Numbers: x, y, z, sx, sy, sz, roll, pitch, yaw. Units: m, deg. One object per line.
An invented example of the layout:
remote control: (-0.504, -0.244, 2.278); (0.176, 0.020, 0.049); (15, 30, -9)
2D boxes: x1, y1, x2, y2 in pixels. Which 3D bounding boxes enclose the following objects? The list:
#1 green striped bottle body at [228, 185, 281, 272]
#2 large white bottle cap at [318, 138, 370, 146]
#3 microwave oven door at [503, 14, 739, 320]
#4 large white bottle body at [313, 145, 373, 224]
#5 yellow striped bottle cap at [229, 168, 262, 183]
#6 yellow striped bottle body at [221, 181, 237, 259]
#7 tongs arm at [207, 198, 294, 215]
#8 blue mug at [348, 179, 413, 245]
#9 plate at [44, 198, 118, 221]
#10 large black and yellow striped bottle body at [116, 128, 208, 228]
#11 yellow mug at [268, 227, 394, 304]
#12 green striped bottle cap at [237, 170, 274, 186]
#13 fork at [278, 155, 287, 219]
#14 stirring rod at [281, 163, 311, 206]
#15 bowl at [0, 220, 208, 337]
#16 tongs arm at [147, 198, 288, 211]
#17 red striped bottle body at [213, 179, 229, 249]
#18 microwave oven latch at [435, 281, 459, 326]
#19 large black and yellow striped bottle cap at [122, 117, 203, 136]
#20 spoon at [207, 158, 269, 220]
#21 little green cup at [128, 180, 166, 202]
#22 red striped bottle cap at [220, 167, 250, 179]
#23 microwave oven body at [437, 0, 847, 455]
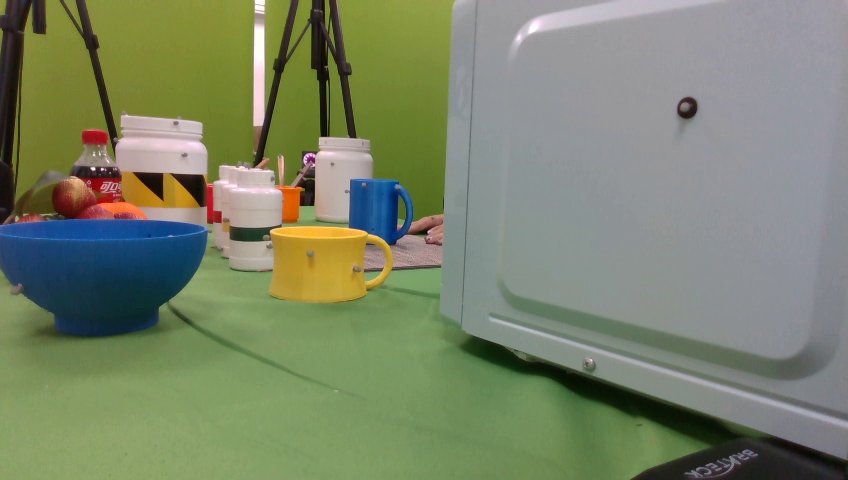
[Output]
green striped bottle body: (-0.208, -0.023, 0.745); (0.063, 0.119, 0.063); (2, 7, 0)
large white bottle cap: (-0.179, -0.218, 1.351); (0.115, 0.018, 0.115); (2, 8, 0)
microwave oven door: (0.217, -0.065, 0.600); (0.358, 0.243, 0.039); (-4, 10, -41)
large white bottle body: (-0.182, -0.134, 1.362); (0.131, 0.184, 0.130); (3, 7, 0)
yellow striped bottle cap: (-0.241, -0.087, 0.816); (0.044, 0.018, 0.044); (-2, 5, 1)
yellow striped bottle body: (-0.244, -0.035, 0.823); (0.063, 0.120, 0.063); (2, 8, 0)
tongs arm: (-0.423, -0.084, 1.472); (0.050, 0.026, 0.386); (2, 6, 22)
blue mug: (-0.071, -0.047, 1.002); (0.116, 0.106, 0.082); (7, 9, 26)
plate: (-0.617, -0.056, 1.179); (0.209, 0.038, 0.209); (3, 7, 0)
large black and yellow striped bottle body: (-0.404, -0.089, 0.937); (0.131, 0.184, 0.130); (3, 7, 0)
yellow mug: (-0.094, 0.023, 0.630); (0.131, 0.064, 0.099); (0, 8, -22)
green striped bottle cap: (-0.205, -0.075, 0.737); (0.044, 0.020, 0.044); (1, 6, 0)
fork: (-0.318, -0.119, 1.342); (0.028, 0.018, 0.206); (-1, 52, -13)
stirring rod: (-0.292, -0.111, 1.324); (0.014, 0.006, 0.176); (2, 47, 30)
bowl: (-0.251, 0.030, 0.479); (0.151, 0.077, 0.151); (2, 7, 0)
tongs arm: (-0.503, -0.091, 1.513); (0.028, 0.028, 0.389); (-1, 4, 38)
red striped bottle body: (-0.284, -0.048, 0.909); (0.063, 0.119, 0.063); (3, 10, 0)
microwave oven latch: (0.044, 0.046, 0.470); (0.079, 0.029, 0.030); (-3, 8, -40)
large black and yellow striped bottle cap: (-0.399, -0.174, 0.927); (0.115, 0.019, 0.115); (5, 9, -1)
spoon: (-0.380, -0.108, 1.251); (0.041, 0.022, 0.194); (5, 51, 38)
little green cup: (-0.485, -0.087, 1.062); (0.061, 0.038, 0.061); (-1, 6, 0)
red striped bottle cap: (-0.281, -0.099, 0.901); (0.044, 0.017, 0.044); (-1, 4, 0)
microwave oven body: (0.279, -0.040, 0.464); (0.444, 0.260, 0.324); (-3, 8, -41)
